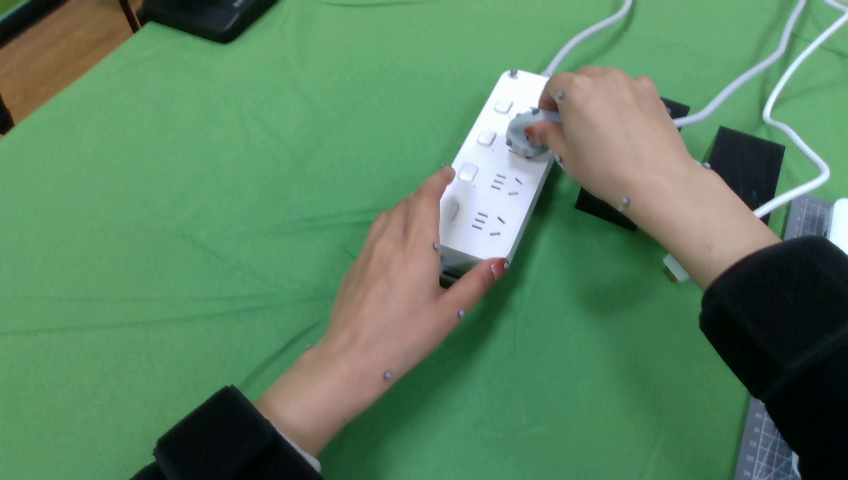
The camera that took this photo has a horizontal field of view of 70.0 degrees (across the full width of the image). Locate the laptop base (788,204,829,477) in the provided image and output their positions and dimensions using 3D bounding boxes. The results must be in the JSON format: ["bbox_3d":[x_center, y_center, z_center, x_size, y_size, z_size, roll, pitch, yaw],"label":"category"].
[{"bbox_3d":[0.422,0.116,0.377,0.353,0.023,0.234,22,61,14],"label":"laptop base"}]

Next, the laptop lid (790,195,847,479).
[{"bbox_3d":[0.420,0.111,0.366,0.355,0.013,0.240,23,60,15],"label":"laptop lid"}]

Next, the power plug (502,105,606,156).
[{"bbox_3d":[0.094,-0.074,0.464,0.072,0.053,0.035,33,67,13],"label":"power plug"}]

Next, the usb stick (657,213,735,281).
[{"bbox_3d":[0.177,0.008,0.403,0.027,0.059,0.021,-27,69,-21],"label":"usb stick"}]

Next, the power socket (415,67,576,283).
[{"bbox_3d":[0.063,-0.062,0.491,0.072,0.033,0.225,20,56,12],"label":"power socket"}]
